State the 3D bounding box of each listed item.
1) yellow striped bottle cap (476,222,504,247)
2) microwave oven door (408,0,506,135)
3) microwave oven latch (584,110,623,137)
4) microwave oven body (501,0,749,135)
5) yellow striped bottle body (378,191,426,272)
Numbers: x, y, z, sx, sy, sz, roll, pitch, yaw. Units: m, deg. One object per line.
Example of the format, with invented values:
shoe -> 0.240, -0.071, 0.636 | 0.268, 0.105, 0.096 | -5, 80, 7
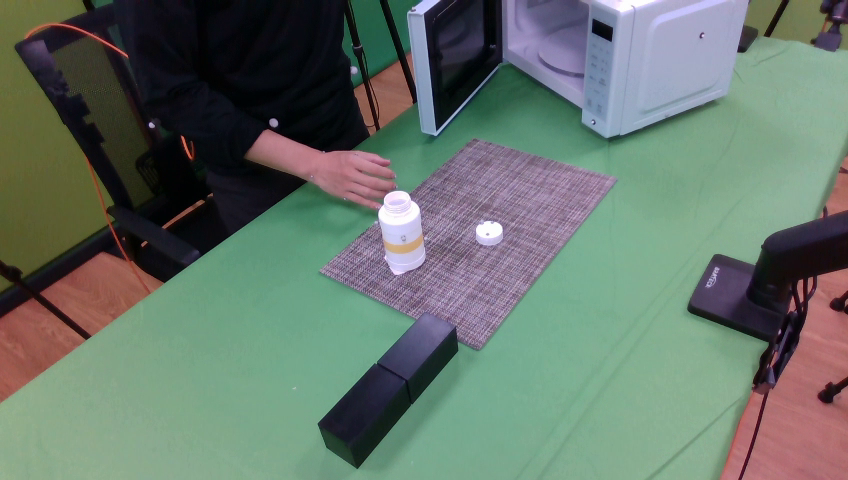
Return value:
yellow striped bottle cap -> 0.105, -0.010, 0.966 | 0.044, 0.019, 0.044 | -3, 39, 3
microwave oven door -> 0.080, -0.412, 1.241 | 0.039, 0.245, 0.356 | 14, 46, 25
microwave oven latch -> 0.337, -0.222, 1.142 | 0.030, 0.029, 0.078 | -21, 42, -15
microwave oven body -> 0.382, -0.444, 1.246 | 0.327, 0.261, 0.437 | -22, 42, -16
yellow striped bottle body -> -0.034, -0.016, 0.910 | 0.063, 0.121, 0.062 | -4, 41, 4
